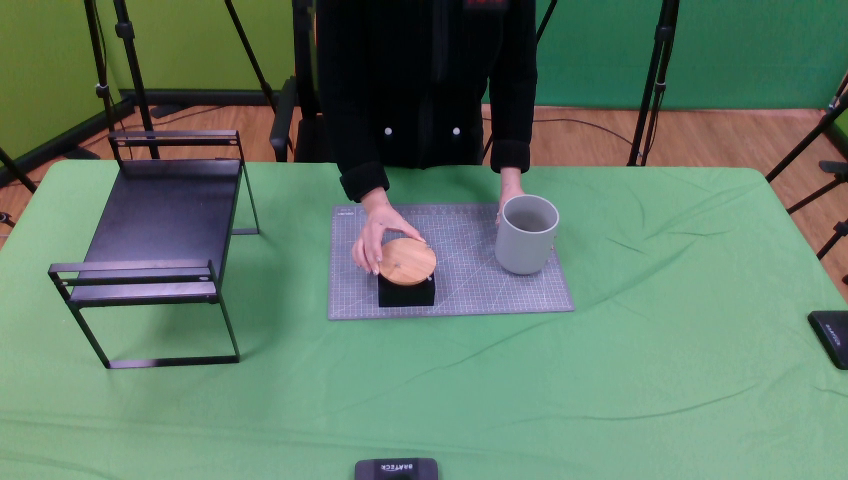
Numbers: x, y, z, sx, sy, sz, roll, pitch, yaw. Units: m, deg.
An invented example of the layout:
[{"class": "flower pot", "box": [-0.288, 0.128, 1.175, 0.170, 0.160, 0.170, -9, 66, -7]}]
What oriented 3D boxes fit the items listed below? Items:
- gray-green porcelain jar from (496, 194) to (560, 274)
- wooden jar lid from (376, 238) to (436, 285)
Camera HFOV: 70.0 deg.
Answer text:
[{"class": "gray-green porcelain jar", "box": [0.191, -0.007, 1.140, 0.106, 0.127, 0.105, 2, 47, -2]}, {"class": "wooden jar lid", "box": [-0.033, 0.040, 1.083, 0.108, 0.021, 0.107, 3, 46, -3]}]
